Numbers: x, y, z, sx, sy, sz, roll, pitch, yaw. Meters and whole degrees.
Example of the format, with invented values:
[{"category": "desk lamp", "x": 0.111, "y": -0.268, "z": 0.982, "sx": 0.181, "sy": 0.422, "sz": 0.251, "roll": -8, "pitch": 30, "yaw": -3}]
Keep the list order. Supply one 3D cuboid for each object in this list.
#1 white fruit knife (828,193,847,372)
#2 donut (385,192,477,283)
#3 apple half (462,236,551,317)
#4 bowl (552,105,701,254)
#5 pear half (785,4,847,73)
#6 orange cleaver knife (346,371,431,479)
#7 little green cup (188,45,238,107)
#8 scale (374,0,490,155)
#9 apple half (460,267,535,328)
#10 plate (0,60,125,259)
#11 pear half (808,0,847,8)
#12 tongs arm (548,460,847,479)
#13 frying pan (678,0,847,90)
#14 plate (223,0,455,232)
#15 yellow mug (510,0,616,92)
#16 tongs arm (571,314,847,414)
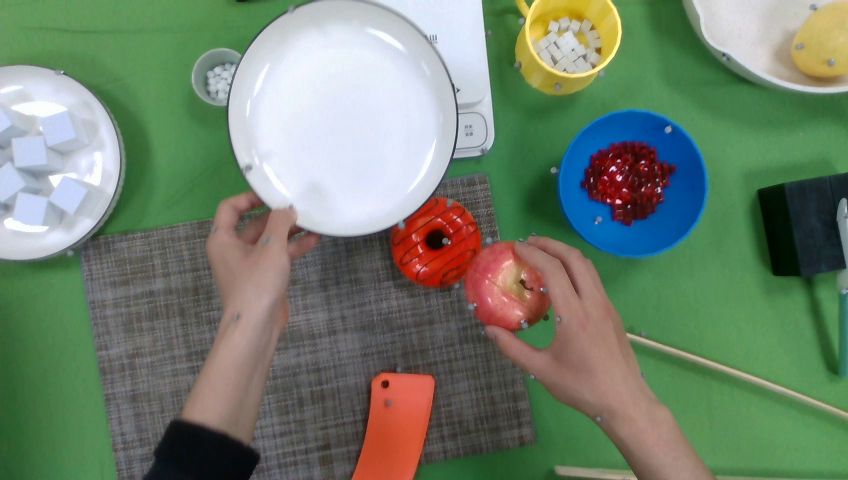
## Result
[{"category": "white fruit knife", "x": 0.443, "y": 0.050, "z": 0.649, "sx": 0.016, "sy": 0.027, "sz": 0.208, "roll": -12, "pitch": 103, "yaw": -2}, {"category": "donut", "x": 0.006, "y": -0.003, "z": 0.645, "sx": 0.099, "sy": 0.048, "sz": 0.099, "roll": 0, "pitch": 87, "yaw": 1}, {"category": "apple half", "x": 0.080, "y": 0.026, "z": 0.545, "sx": 0.081, "sy": 0.074, "sz": 0.053, "roll": 35, "pitch": 82, "yaw": -2}, {"category": "bowl", "x": 0.203, "y": -0.059, "z": 0.643, "sx": 0.151, "sy": 0.077, "sz": 0.151, "roll": 0, "pitch": 89, "yaw": -2}, {"category": "pear half", "x": 0.430, "y": -0.210, "z": 0.636, "sx": 0.076, "sy": 0.110, "sz": 0.056, "roll": 27, "pitch": 88, "yaw": 3}, {"category": "orange cleaver knife", "x": -0.050, "y": 0.237, "z": 0.649, "sx": 0.077, "sy": 0.012, "sz": 0.211, "roll": 19, "pitch": 85, "yaw": -7}, {"category": "little green cup", "x": -0.215, "y": -0.172, "z": 0.648, "sx": 0.061, "sy": 0.038, "sz": 0.061, "roll": 0, "pitch": 87, "yaw": -2}, {"category": "scale", "x": -0.008, "y": -0.192, "z": 0.661, "sx": 0.149, "sy": 0.031, "sz": 0.200, "roll": -5, "pitch": 89, "yaw": -2}, {"category": "apple half", "x": 0.058, "y": 0.058, "z": 0.541, "sx": 0.081, "sy": 0.081, "sz": 0.033, "roll": 35, "pitch": 81, "yaw": 0}, {"category": "plate", "x": -0.418, "y": -0.083, "z": 0.638, "sx": 0.208, "sy": 0.039, "sz": 0.207, "roll": 0, "pitch": 88, "yaw": -2}, {"category": "pear half", "x": 0.448, "y": -0.241, "z": 0.647, "sx": 0.070, "sy": 0.088, "sz": 0.031, "roll": 25, "pitch": 89, "yaw": 2}, {"category": "tongs arm", "x": 0.329, "y": 0.238, "z": 0.660, "sx": 0.385, "sy": 0.026, "sz": 0.050, "roll": 5, "pitch": 83, "yaw": -2}, {"category": "frying pan", "x": 0.468, "y": -0.219, "z": 0.645, "sx": 0.307, "sy": 0.103, "sz": 0.486, "roll": -37, "pitch": 82, "yaw": -2}, {"category": "plate", "x": -0.075, "y": -0.113, "z": 0.556, "sx": 0.209, "sy": 0.038, "sz": 0.209, "roll": 0, "pitch": 99, "yaw": 0}, {"category": "yellow mug", "x": 0.137, "y": -0.229, "z": 0.651, "sx": 0.100, "sy": 0.064, "sz": 0.131, "roll": -43, "pitch": 89, "yaw": -2}, {"category": "tongs arm", "x": 0.345, "y": 0.153, "z": 0.668, "sx": 0.388, "sy": 0.028, "sz": 0.028, "roll": 20, "pitch": 79, "yaw": -1}]
